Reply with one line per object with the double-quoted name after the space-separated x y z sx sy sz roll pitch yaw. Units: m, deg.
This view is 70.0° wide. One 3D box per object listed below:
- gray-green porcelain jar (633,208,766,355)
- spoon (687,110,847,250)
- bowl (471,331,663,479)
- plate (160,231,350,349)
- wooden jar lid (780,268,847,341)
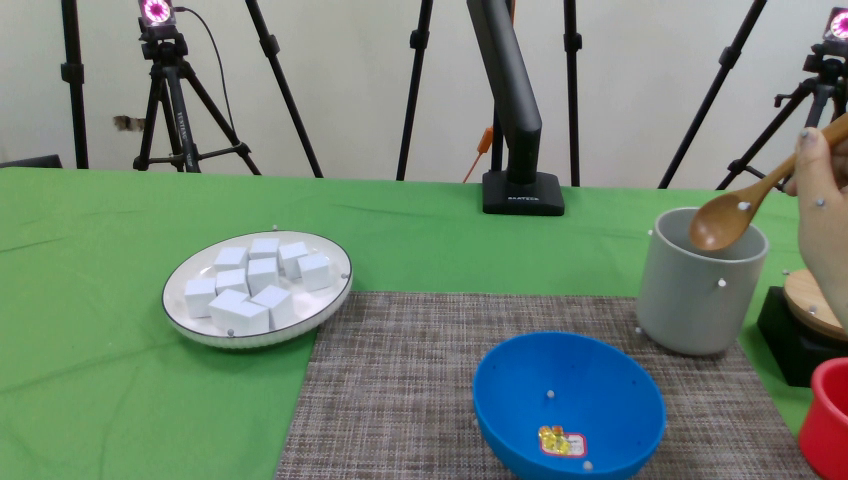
0.278 0.046 0.626 0.106 0.127 0.105 0 32 0 "gray-green porcelain jar"
0.251 -0.048 0.419 0.022 0.194 0.041 1 62 -16 "spoon"
0.111 0.153 0.500 0.151 0.077 0.150 0 32 0 "bowl"
-0.187 0.057 0.692 0.209 0.038 0.207 0 32 1 "plate"
0.417 0.066 0.610 0.108 0.021 0.107 -1 32 1 "wooden jar lid"
